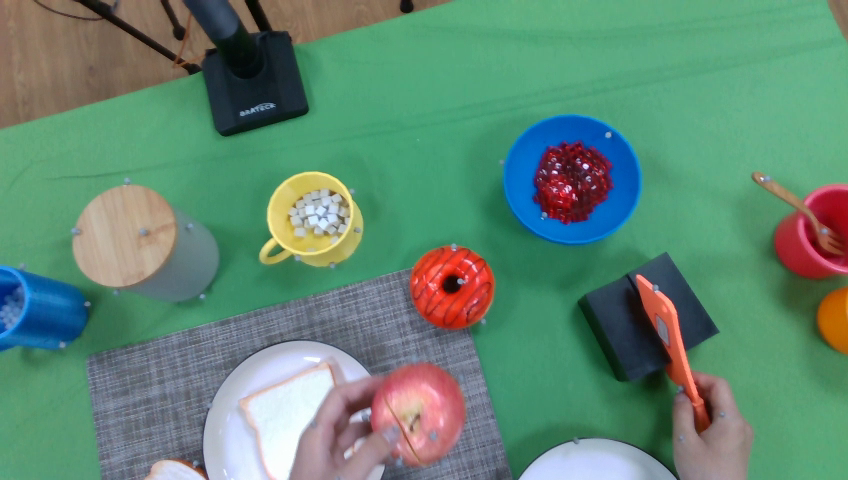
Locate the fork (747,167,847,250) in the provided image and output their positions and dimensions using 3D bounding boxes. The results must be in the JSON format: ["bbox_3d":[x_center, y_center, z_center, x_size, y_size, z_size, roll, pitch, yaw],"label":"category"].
[{"bbox_3d":[0.399,-0.032,0.641,0.209,0.018,0.028,25,74,-33],"label":"fork"}]

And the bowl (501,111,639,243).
[{"bbox_3d":[0.161,-0.063,0.699,0.151,0.077,0.150,-1,77,3],"label":"bowl"}]

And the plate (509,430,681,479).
[{"bbox_3d":[0.179,0.306,0.633,0.209,0.038,0.208,-1,77,4],"label":"plate"}]

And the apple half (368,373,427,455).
[{"bbox_3d":[-0.026,0.153,0.522,0.033,0.082,0.081,-32,76,7],"label":"apple half"}]

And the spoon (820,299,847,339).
[{"bbox_3d":[0.507,0.055,0.615,0.022,0.194,0.041,-7,69,-45],"label":"spoon"}]

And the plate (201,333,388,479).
[{"bbox_3d":[-0.139,0.209,0.670,0.207,0.039,0.206,-1,77,3],"label":"plate"}]

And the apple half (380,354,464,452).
[{"bbox_3d":[0.006,0.131,0.517,0.053,0.075,0.080,-33,76,6],"label":"apple half"}]

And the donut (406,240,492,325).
[{"bbox_3d":[0.028,0.049,0.694,0.099,0.048,0.098,-1,78,3],"label":"donut"}]

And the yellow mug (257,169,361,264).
[{"bbox_3d":[-0.141,-0.016,0.712,0.131,0.064,0.099,-39,78,-5],"label":"yellow mug"}]

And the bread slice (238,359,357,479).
[{"bbox_3d":[-0.132,0.212,0.670,0.107,0.018,0.133,-27,76,-2],"label":"bread slice"}]

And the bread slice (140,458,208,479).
[{"bbox_3d":[-0.276,0.307,0.657,0.105,0.019,0.131,25,81,6],"label":"bread slice"}]

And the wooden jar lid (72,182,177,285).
[{"bbox_3d":[-0.305,-0.005,0.624,0.108,0.021,0.108,-1,75,4],"label":"wooden jar lid"}]

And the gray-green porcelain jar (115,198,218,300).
[{"bbox_3d":[-0.301,0.010,0.684,0.106,0.127,0.105,-1,76,3],"label":"gray-green porcelain jar"}]

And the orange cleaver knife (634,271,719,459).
[{"bbox_3d":[0.264,0.132,0.640,0.012,0.077,0.212,-23,103,-2],"label":"orange cleaver knife"}]

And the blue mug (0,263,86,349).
[{"bbox_3d":[-0.467,0.087,0.686,0.116,0.106,0.082,-41,77,-6],"label":"blue mug"}]
